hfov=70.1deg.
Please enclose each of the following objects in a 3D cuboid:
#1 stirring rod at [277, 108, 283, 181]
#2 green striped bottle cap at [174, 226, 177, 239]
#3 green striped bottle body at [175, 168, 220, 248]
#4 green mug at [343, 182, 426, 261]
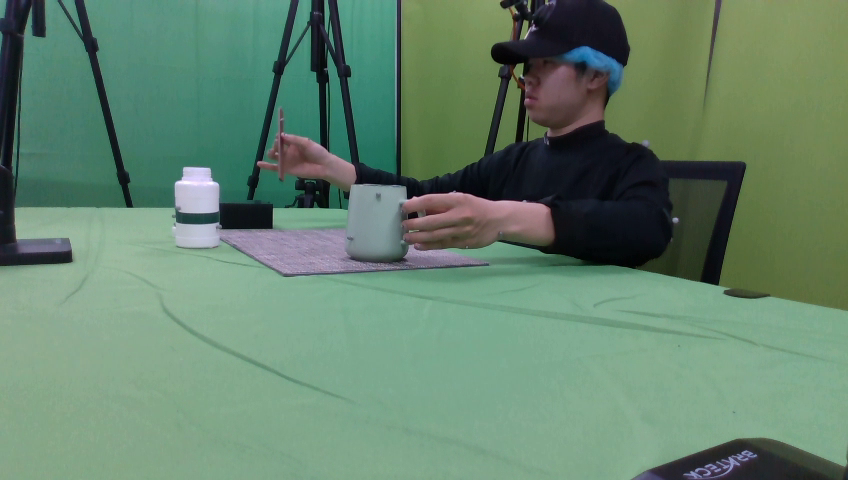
[{"bbox_3d":[-0.284,-0.192,1.195,0.006,0.175,0.014,-13,-29,10],"label":"stirring rod"},{"bbox_3d":[-0.405,-0.015,1.036,0.044,0.020,0.044,-1,9,0],"label":"green striped bottle cap"},{"bbox_3d":[-0.345,-0.050,0.924,0.063,0.119,0.063,2,7,0],"label":"green striped bottle body"},{"bbox_3d":[-0.053,-0.026,0.848,0.125,0.105,0.093,6,8,29],"label":"green mug"}]
